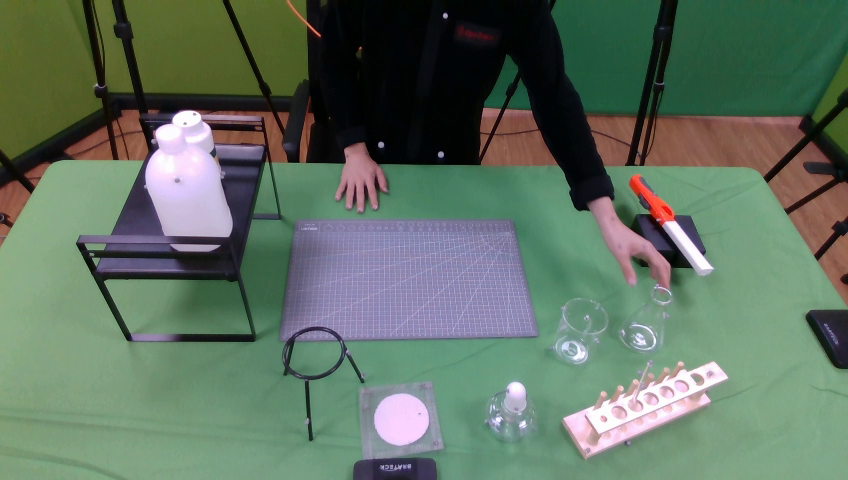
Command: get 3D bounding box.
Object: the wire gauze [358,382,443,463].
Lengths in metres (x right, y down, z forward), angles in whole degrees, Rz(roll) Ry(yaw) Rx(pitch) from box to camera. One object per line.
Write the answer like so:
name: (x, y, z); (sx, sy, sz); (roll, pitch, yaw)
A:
wire gauze: (-0.039, 0.277, 0.937); (0.121, 0.011, 0.124); (-4, 47, -7)

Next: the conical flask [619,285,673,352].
conical flask: (0.385, 0.130, 1.031); (0.075, 0.122, 0.075); (2, 46, -2)

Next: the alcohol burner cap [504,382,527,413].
alcohol burner cap: (0.133, 0.225, 0.877); (0.034, 0.048, 0.033); (-5, 47, 5)

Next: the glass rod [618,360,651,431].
glass rod: (0.298, 0.227, 0.865); (0.008, 0.201, 0.008); (-1, 48, 2)

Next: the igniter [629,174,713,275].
igniter: (0.481, -0.039, 1.202); (0.057, 0.025, 0.274); (-1, 46, -21)

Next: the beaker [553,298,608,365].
beaker: (0.260, 0.154, 1.015); (0.073, 0.101, 0.084); (37, 54, 27)

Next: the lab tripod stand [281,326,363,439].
lab tripod stand: (-0.166, 0.203, 0.913); (0.148, 0.132, 0.147); (1, 47, -1)

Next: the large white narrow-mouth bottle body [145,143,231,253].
large white narrow-mouth bottle body: (-0.345, -0.077, 0.877); (0.102, 0.195, 0.101); (2, 48, -2)

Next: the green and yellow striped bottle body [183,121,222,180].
green and yellow striped bottle body: (-0.375, -0.149, 0.995); (0.063, 0.120, 0.063); (2, 46, -2)

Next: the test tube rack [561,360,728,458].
test tube rack: (0.341, 0.248, 0.940); (0.243, 0.085, 0.066); (-16, 49, -18)

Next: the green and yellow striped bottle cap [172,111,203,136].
green and yellow striped bottle cap: (-0.374, -0.185, 0.958); (0.045, 0.020, 0.045); (4, 46, -4)

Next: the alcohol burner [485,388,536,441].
alcohol burner: (0.131, 0.249, 0.904); (0.078, 0.120, 0.077); (1, 48, -1)

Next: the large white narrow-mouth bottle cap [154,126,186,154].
large white narrow-mouth bottle cap: (-0.340, -0.135, 0.812); (0.038, 0.024, 0.037); (2, 48, -2)
